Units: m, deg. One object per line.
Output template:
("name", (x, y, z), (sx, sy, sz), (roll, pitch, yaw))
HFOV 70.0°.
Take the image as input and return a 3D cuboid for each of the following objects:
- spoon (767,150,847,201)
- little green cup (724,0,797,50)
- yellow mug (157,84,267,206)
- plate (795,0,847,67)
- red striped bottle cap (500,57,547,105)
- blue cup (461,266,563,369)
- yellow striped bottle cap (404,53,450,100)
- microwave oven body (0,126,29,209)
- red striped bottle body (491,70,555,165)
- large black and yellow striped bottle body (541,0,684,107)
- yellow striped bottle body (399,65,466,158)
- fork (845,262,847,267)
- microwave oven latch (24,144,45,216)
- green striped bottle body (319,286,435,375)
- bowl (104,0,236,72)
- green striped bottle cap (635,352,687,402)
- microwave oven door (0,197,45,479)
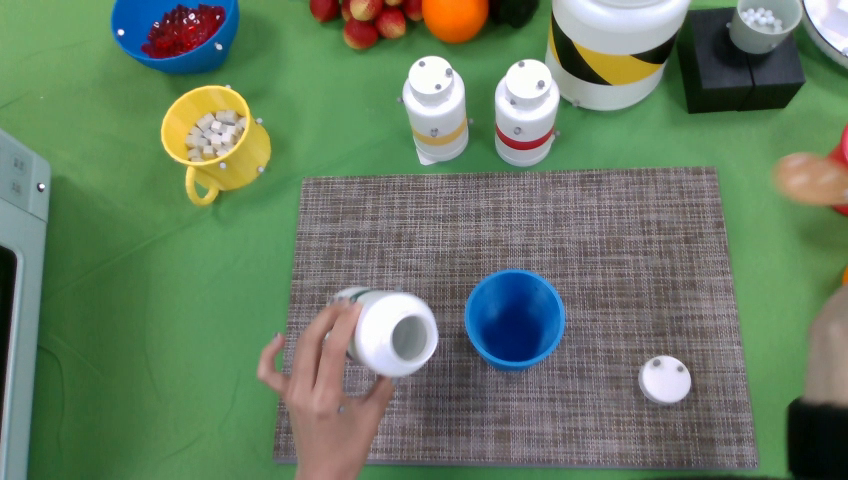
("spoon", (0.337, -0.024, 0.415), (0.192, 0.022, 0.041), (28, 74, 43))
("little green cup", (0.340, -0.227, 0.618), (0.061, 0.039, 0.061), (-2, 69, 5))
("yellow mug", (-0.240, -0.101, 0.678), (0.100, 0.064, 0.130), (9, 72, 8))
("plate", (0.511, -0.263, 0.666), (0.209, 0.038, 0.207), (-2, 71, 6))
("red striped bottle cap", (0.094, -0.151, 0.573), (0.044, 0.018, 0.044), (-1, 69, 2))
("blue cup", (0.078, 0.079, 0.555), (0.092, 0.101, 0.092), (-2, 69, 5))
("yellow striped bottle cap", (0.003, -0.159, 0.587), (0.044, 0.019, 0.044), (-2, 72, 5))
("microwave oven body", (-0.580, 0.091, 0.540), (0.326, 0.262, 0.438), (-10, 70, 2))
("red striped bottle body", (0.102, -0.132, 0.622), (0.063, 0.120, 0.062), (-4, 68, 10))
("large black and yellow striped bottle body", (0.189, -0.236, 0.615), (0.130, 0.185, 0.130), (-2, 70, 6))
("yellow striped bottle body", (0.009, -0.141, 0.635), (0.063, 0.121, 0.062), (-2, 70, 7))
("fork", (0.455, 0.050, 0.502), (0.028, 0.019, 0.205), (-39, 27, -7))
("microwave oven latch", (-0.450, -0.066, 0.684), (0.030, 0.030, 0.078), (-8, 71, 3))
("green striped bottle body", (-0.035, 0.069, 0.474), (0.063, 0.118, 0.063), (1, 88, -27))
("bowl", (-0.291, -0.257, 0.733), (0.151, 0.077, 0.150), (-2, 70, 5))
("green striped bottle cap", (0.222, 0.128, 0.567), (0.044, 0.020, 0.044), (-2, 66, 4))
("microwave oven door", (-0.431, 0.103, 0.514), (0.039, 0.245, 0.353), (-10, 70, 3))
